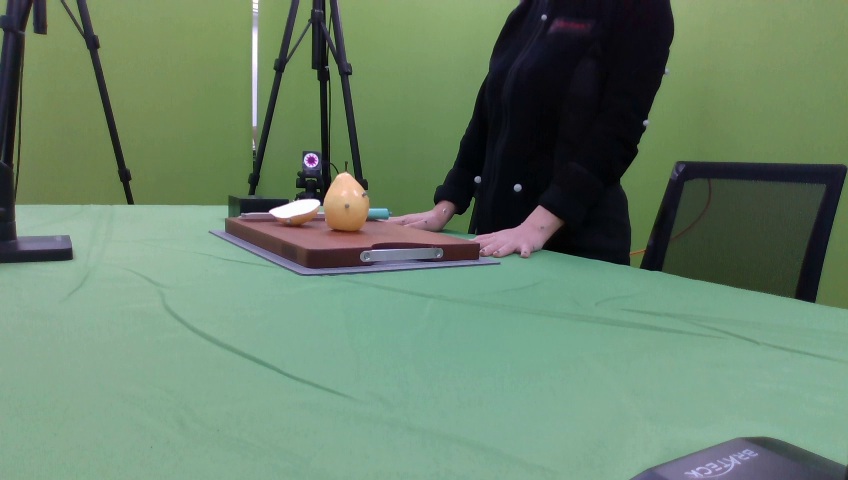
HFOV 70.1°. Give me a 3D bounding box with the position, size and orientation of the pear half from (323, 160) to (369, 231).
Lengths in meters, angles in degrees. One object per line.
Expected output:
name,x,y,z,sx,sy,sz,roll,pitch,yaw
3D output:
pear half,-0.114,-0.068,0.938,0.056,0.110,0.076,6,12,27

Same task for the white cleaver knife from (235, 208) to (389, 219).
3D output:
white cleaver knife,-0.194,-0.048,1.104,0.288,0.021,0.065,-1,-3,-32

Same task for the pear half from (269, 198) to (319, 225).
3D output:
pear half,-0.212,-0.042,0.995,0.088,0.031,0.070,-10,19,20
